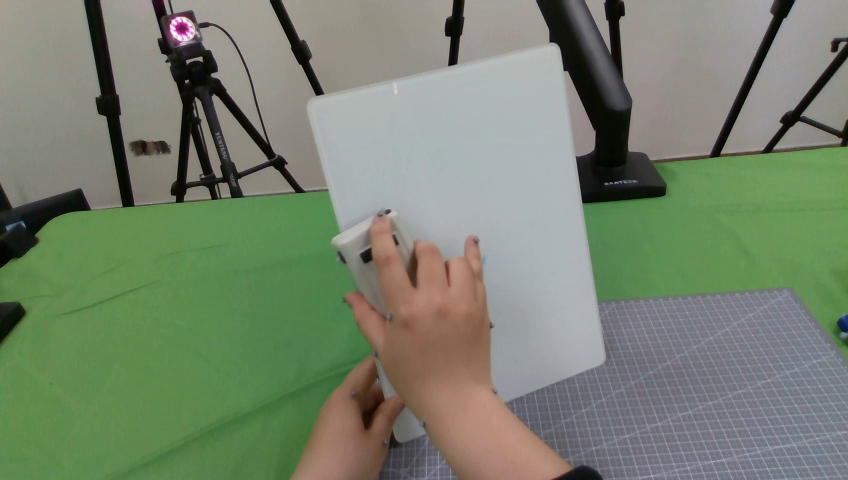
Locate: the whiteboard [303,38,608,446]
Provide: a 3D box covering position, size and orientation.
[{"bbox_3d":[0.024,-0.007,0.576,0.217,0.307,0.143,-17,16,-14],"label":"whiteboard"}]

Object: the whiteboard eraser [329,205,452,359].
[{"bbox_3d":[-0.026,0.034,0.476,0.055,0.113,0.041,-29,17,-10],"label":"whiteboard eraser"}]

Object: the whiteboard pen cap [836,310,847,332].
[{"bbox_3d":[0.413,0.083,0.579,0.018,0.018,0.033,-6,33,2],"label":"whiteboard pen cap"}]
